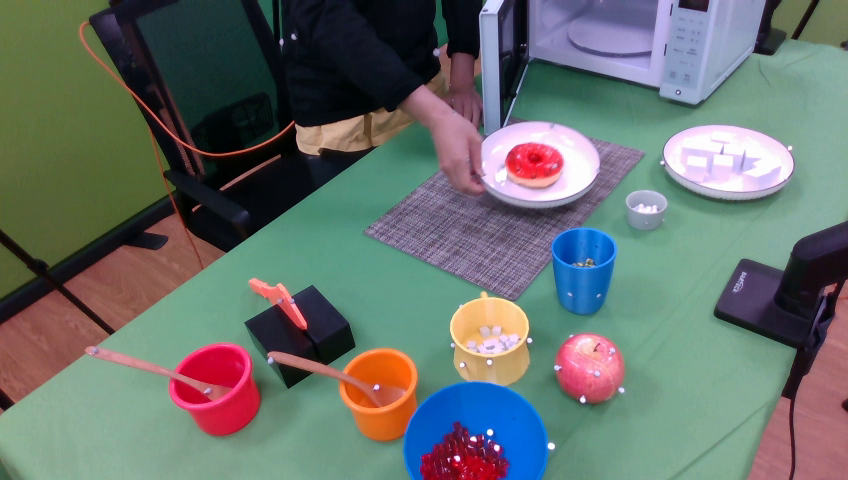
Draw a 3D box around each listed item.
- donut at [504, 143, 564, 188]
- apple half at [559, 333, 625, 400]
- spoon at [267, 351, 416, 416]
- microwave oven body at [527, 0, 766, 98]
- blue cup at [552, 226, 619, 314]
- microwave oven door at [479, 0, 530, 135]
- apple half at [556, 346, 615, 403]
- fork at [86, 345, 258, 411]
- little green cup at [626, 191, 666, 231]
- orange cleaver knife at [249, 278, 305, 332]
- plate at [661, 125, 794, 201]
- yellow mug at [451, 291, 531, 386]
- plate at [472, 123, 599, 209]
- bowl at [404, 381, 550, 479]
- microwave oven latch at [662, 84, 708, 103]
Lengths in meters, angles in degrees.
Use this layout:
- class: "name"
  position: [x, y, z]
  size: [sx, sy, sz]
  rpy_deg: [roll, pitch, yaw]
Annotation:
- class: "donut"
  position: [0.181, -0.124, 1.003]
  size: [0.099, 0.048, 0.098]
  rpy_deg: [-1, 46, 2]
- class: "apple half"
  position: [0.209, 0.147, 0.730]
  size: [0.080, 0.075, 0.053]
  rpy_deg: [26, 48, 38]
- class: "spoon"
  position: [-0.091, 0.163, 0.699]
  size: [0.021, 0.195, 0.041]
  rpy_deg: [-44, 30, 27]
- class: "microwave oven body"
  position: [0.472, -0.513, 1.317]
  size: [0.438, 0.261, 0.327]
  rpy_deg: [25, 51, 34]
- class: "blue cup"
  position: [0.218, 0.047, 0.825]
  size: [0.092, 0.101, 0.092]
  rpy_deg: [-6, 40, 5]
- class: "microwave oven door"
  position: [0.170, -0.408, 1.232]
  size: [0.039, 0.245, 0.355]
  rpy_deg: [6, 42, 16]
- class: "apple half"
  position: [0.181, 0.167, 0.709]
  size: [0.080, 0.081, 0.033]
  rpy_deg: [29, 50, 35]
- class: "fork"
  position: [-0.299, 0.167, 0.728]
  size: [0.209, 0.018, 0.028]
  rpy_deg: [28, 47, -23]
- class: "little green cup"
  position: [0.352, -0.046, 0.963]
  size: [0.061, 0.039, 0.061]
  rpy_deg: [-4, 40, 4]
- class: "orange cleaver knife"
  position: [-0.210, 0.089, 0.855]
  size: [0.012, 0.077, 0.210]
  rpy_deg: [-28, 15, -25]
- class: "plate"
  position: [0.513, -0.128, 1.035]
  size: [0.207, 0.039, 0.206]
  rpy_deg: [-4, 40, 4]
- class: "yellow mug"
  position: [0.086, 0.120, 0.786]
  size: [0.100, 0.064, 0.130]
  rpy_deg: [-7, 39, 2]
- class: "plate"
  position: [0.185, -0.120, 1.014]
  size: [0.209, 0.038, 0.208]
  rpy_deg: [-2, 47, 2]
- class: "bowl"
  position: [0.058, 0.235, 0.645]
  size: [0.151, 0.077, 0.150]
  rpy_deg: [-4, 39, 4]
- class: "microwave oven latch"
  position: [0.517, -0.296, 1.204]
  size: [0.078, 0.029, 0.030]
  rpy_deg: [27, 52, 35]
